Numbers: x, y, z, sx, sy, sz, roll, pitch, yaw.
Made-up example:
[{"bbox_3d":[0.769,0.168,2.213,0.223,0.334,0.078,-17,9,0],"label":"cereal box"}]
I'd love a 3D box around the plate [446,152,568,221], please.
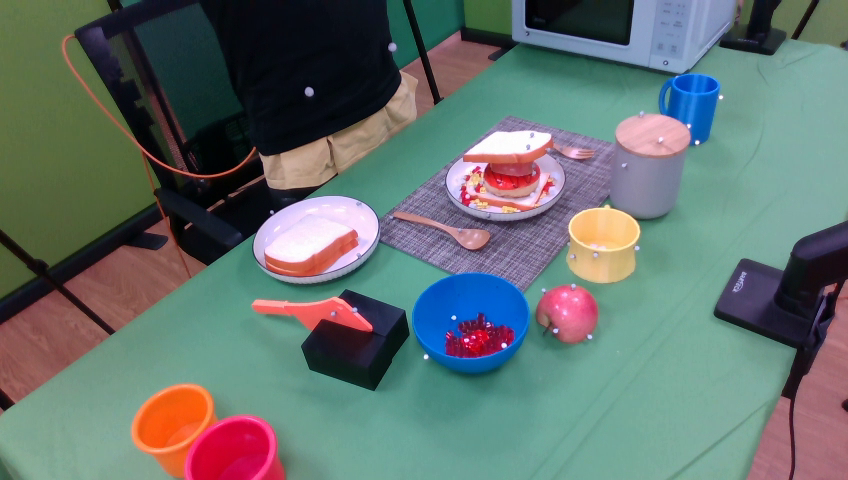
[{"bbox_3d":[0.143,-0.097,1.045,0.207,0.039,0.206,-4,40,4],"label":"plate"}]

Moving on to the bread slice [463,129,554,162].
[{"bbox_3d":[0.143,-0.154,0.974,0.130,0.019,0.105,9,35,38],"label":"bread slice"}]

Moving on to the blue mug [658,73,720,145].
[{"bbox_3d":[0.483,-0.250,1.127,0.082,0.106,0.115,-25,44,-19],"label":"blue mug"}]

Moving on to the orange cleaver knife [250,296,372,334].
[{"bbox_3d":[-0.159,0.103,0.828,0.210,0.078,0.012,-4,43,39],"label":"orange cleaver knife"}]

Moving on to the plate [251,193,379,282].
[{"bbox_3d":[-0.174,-0.001,0.984,0.209,0.038,0.208,-4,40,4],"label":"plate"}]

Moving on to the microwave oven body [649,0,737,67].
[{"bbox_3d":[0.475,-0.602,1.411,0.438,0.261,0.327,23,50,32],"label":"microwave oven body"}]

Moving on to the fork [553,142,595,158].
[{"bbox_3d":[0.225,-0.186,1.151,0.206,0.019,0.028,21,62,27],"label":"fork"}]

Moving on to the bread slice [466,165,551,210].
[{"bbox_3d":[0.141,-0.093,1.041,0.133,0.018,0.107,8,42,20],"label":"bread slice"}]

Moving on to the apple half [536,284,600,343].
[{"bbox_3d":[0.196,0.091,0.815,0.075,0.053,0.080,-22,42,-20],"label":"apple half"}]

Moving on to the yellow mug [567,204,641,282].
[{"bbox_3d":[0.268,-0.005,0.904,0.099,0.064,0.130,6,42,16],"label":"yellow mug"}]

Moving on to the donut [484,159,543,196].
[{"bbox_3d":[0.150,-0.112,1.018,0.099,0.048,0.098,-4,41,4],"label":"donut"}]

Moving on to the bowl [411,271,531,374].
[{"bbox_3d":[0.062,0.119,0.780,0.151,0.077,0.150,-4,40,4],"label":"bowl"}]

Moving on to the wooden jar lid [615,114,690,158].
[{"bbox_3d":[0.347,-0.155,0.923,0.108,0.021,0.108,-3,44,4],"label":"wooden jar lid"}]

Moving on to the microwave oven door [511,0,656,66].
[{"bbox_3d":[0.350,-0.539,1.349,0.353,0.245,0.039,24,50,31],"label":"microwave oven door"}]

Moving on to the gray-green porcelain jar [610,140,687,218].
[{"bbox_3d":[0.354,-0.106,0.964,0.106,0.127,0.105,-4,41,4],"label":"gray-green porcelain jar"}]

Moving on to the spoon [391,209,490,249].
[{"bbox_3d":[0.023,-0.025,0.989,0.192,0.022,0.041,20,71,28],"label":"spoon"}]

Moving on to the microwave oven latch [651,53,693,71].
[{"bbox_3d":[0.532,-0.386,1.301,0.078,0.029,0.030,27,52,34],"label":"microwave oven latch"}]
